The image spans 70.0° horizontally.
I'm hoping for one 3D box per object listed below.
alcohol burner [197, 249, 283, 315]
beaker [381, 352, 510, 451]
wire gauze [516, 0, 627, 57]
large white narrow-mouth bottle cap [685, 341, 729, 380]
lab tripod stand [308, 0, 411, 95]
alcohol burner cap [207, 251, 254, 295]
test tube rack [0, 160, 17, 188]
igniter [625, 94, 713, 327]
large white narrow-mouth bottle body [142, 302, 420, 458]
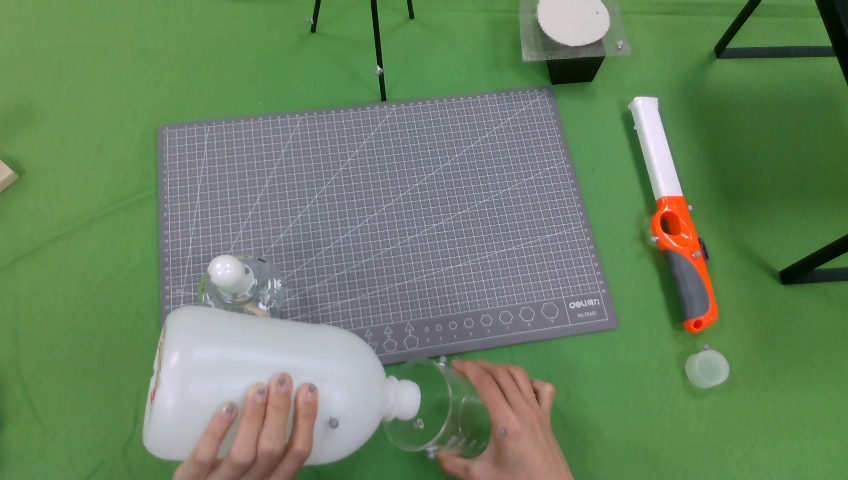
[{"bbox_3d":[-0.170,0.039,0.551,0.078,0.120,0.077,2,67,-5],"label":"alcohol burner"},{"bbox_3d":[0.021,0.145,0.529,0.084,0.101,0.073,-20,59,34],"label":"beaker"},{"bbox_3d":[0.165,-0.263,0.699,0.121,0.011,0.124,0,69,-4],"label":"wire gauze"},{"bbox_3d":[0.284,0.121,0.610,0.038,0.024,0.037,2,68,-3],"label":"large white narrow-mouth bottle cap"},{"bbox_3d":[-0.062,-0.256,0.664,0.148,0.132,0.147,2,70,-5],"label":"lab tripod stand"},{"bbox_3d":[-0.167,0.027,0.517,0.034,0.048,0.033,0,74,-1],"label":"alcohol burner cap"},{"bbox_3d":[-0.525,-0.019,0.562,0.066,0.085,0.242,39,71,10],"label":"test tube rack"},{"bbox_3d":[0.267,-0.040,0.665,0.057,0.025,0.274,-1,69,-16],"label":"igniter"},{"bbox_3d":[-0.095,0.108,0.447,0.196,0.102,0.101,12,66,-25],"label":"large white narrow-mouth bottle body"}]
